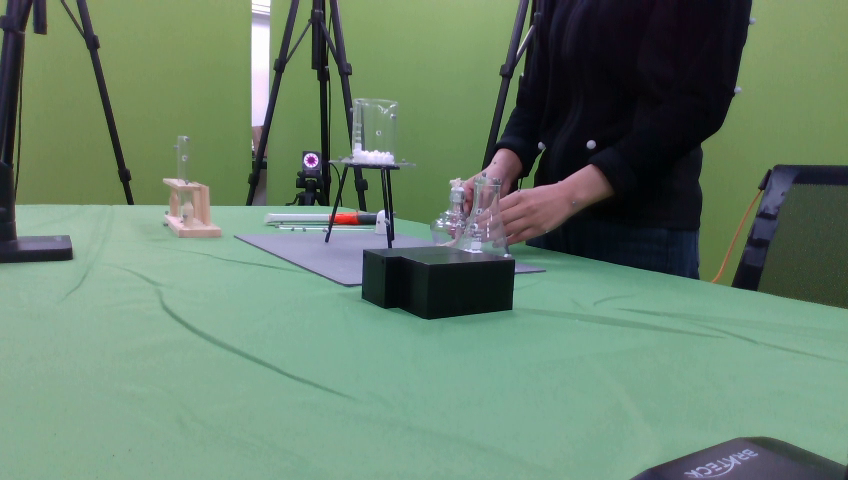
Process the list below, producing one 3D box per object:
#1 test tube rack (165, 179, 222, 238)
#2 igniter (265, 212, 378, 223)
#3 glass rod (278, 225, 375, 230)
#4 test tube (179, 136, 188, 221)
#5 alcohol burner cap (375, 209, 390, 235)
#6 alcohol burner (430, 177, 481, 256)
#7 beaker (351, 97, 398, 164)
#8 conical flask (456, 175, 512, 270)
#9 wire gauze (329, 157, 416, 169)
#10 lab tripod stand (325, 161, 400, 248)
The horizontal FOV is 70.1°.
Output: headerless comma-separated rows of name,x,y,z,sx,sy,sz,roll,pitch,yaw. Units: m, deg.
test tube rack,-0.423,-0.062,1.098,0.067,0.085,0.241,-2,9,-28
igniter,-0.195,-0.048,1.285,0.278,0.025,0.057,-2,-2,-30
glass rod,-0.186,-0.024,1.178,0.201,0.008,0.008,1,7,-31
test tube,-0.425,-0.108,1.070,0.017,0.150,0.017,4,9,0
alcohol burner cap,-0.076,-0.035,1.145,0.034,0.048,0.034,1,7,0
alcohol burner,0.049,-0.036,0.913,0.078,0.119,0.078,4,9,0
beaker,-0.078,-0.172,0.962,0.074,0.100,0.084,6,8,19
conical flask,0.083,-0.025,0.801,0.075,0.122,0.075,2,7,0
wire gauze,-0.079,-0.125,0.972,0.121,0.011,0.125,6,6,5
lab tripod stand,-0.083,-0.059,0.977,0.148,0.131,0.148,4,8,0
